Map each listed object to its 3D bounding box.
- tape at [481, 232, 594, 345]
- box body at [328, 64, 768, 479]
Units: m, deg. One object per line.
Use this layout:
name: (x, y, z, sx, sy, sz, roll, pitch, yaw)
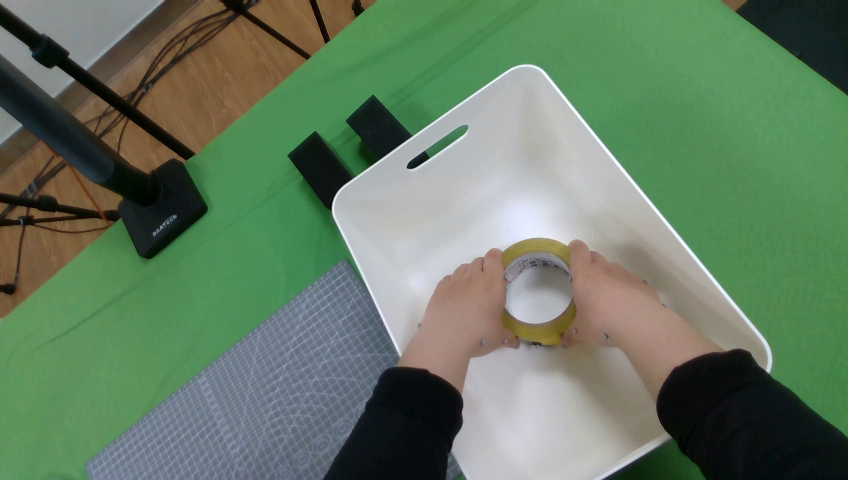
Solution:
tape: (0.121, 0.052, 0.654, 0.116, 0.053, 0.116, -6, 71, 17)
box body: (0.104, 0.048, 0.609, 0.254, 0.162, 0.360, -34, 65, 6)
